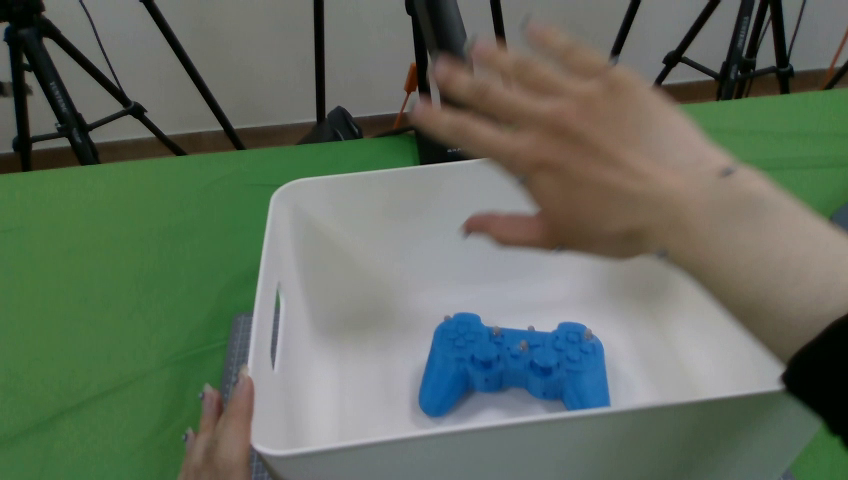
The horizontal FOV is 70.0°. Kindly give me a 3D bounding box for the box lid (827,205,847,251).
[{"bbox_3d":[0.594,0.029,0.533,0.263,0.015,0.367,-27,45,-24],"label":"box lid"}]

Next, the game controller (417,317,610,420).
[{"bbox_3d":[0.076,0.108,0.509,0.155,0.052,0.096,5,36,10],"label":"game controller"}]

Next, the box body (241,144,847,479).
[{"bbox_3d":[0.072,0.074,0.469,0.364,0.162,0.251,-7,40,-3],"label":"box body"}]
